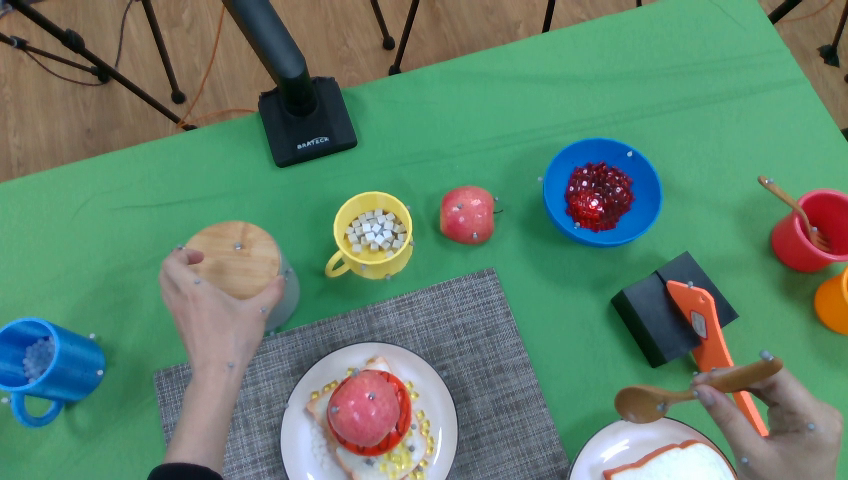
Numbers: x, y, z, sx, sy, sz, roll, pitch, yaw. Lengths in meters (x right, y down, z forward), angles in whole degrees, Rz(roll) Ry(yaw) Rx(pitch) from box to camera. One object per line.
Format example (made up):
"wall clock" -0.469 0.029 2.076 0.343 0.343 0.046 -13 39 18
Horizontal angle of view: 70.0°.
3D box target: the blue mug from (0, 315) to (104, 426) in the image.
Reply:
"blue mug" -0.441 0.155 0.701 0.082 0.106 0.116 3 70 0

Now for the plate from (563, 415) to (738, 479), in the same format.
"plate" 0.258 0.305 0.692 0.209 0.038 0.207 0 70 0

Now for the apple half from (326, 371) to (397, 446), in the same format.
"apple half" -0.069 0.183 0.660 0.081 0.033 0.080 -2 70 5

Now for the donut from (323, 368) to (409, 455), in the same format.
"donut" -0.066 0.195 0.694 0.099 0.048 0.098 0 68 -1

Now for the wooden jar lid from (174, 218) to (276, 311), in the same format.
"wooden jar lid" -0.216 0.028 0.666 0.108 0.021 0.107 1 68 -2

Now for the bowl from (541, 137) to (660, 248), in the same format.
"bowl" 0.223 -0.051 0.801 0.151 0.077 0.150 0 70 0

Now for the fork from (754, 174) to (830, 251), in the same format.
"fork" 0.465 -0.033 0.760 0.209 0.018 0.028 29 65 -35

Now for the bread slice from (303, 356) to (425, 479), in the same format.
"bread slice" -0.062 0.219 0.716 0.107 0.018 0.133 -34 74 -12

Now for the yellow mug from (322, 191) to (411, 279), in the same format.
"yellow mug" -0.079 0.004 0.783 0.131 0.064 0.099 -40 75 -13

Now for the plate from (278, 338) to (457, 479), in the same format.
"plate" -0.065 0.221 0.714 0.208 0.039 0.206 0 70 0

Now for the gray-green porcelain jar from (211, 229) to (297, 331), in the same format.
"gray-green porcelain jar" -0.213 0.051 0.732 0.106 0.127 0.105 0 69 -1

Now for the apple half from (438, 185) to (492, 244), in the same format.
"apple half" 0.055 -0.040 0.808 0.074 0.054 0.080 4 70 3

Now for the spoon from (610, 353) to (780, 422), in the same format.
"spoon" 0.206 0.119 0.476 0.041 0.194 0.021 42 66 5

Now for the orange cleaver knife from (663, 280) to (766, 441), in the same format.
"orange cleaver knife" 0.347 0.143 0.729 0.012 0.077 0.211 -27 94 -17
